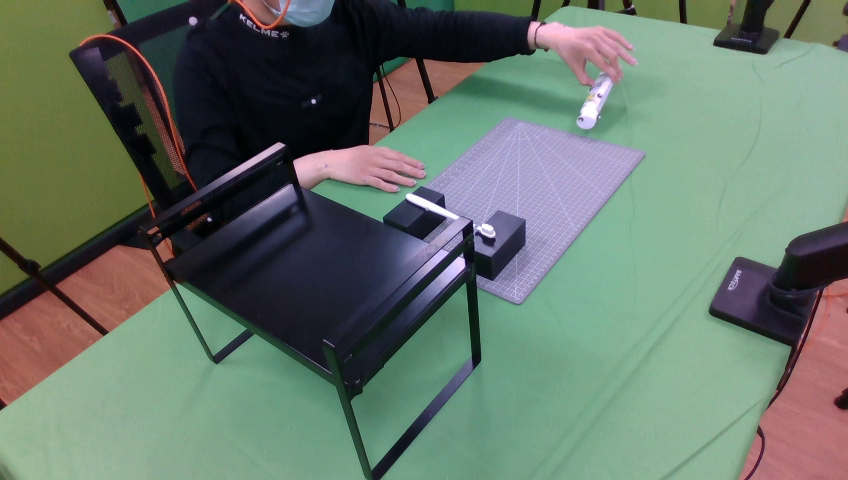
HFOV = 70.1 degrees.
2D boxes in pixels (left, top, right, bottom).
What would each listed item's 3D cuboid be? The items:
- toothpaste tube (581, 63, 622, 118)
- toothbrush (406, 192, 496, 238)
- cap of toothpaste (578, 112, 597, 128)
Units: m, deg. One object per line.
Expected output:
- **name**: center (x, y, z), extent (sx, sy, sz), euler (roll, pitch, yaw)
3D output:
- **toothpaste tube**: center (0.349, -0.293, 1.201), extent (0.054, 0.035, 0.165), euler (-8, 44, 46)
- **toothbrush**: center (0.038, -0.043, 0.937), extent (0.180, 0.017, 0.014), euler (26, 64, 34)
- **cap of toothpaste**: center (0.314, -0.232, 1.162), extent (0.037, 0.037, 0.011), euler (9, 54, 17)
